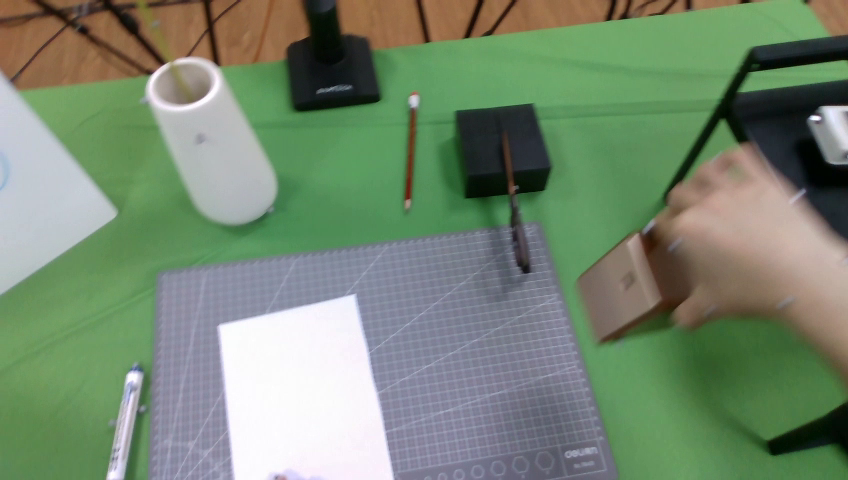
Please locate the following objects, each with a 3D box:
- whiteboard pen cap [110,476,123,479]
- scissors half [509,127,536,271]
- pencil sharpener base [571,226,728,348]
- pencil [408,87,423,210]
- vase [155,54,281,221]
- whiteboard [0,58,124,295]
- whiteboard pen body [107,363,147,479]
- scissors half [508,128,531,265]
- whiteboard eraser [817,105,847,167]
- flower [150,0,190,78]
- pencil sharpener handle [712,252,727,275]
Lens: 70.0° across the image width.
[{"bbox_3d":[-0.291,0.240,0.568,0.018,0.018,0.033,-2,57,-2],"label":"whiteboard pen cap"},{"bbox_3d":[0.112,-0.049,0.703,0.013,0.040,0.174,-11,80,20],"label":"scissors half"},{"bbox_3d":[0.180,0.040,0.494,0.077,0.107,0.061,-9,67,-16],"label":"pencil sharpener base"},{"bbox_3d":[-0.012,-0.122,0.779,0.012,0.012,0.192,3,62,1],"label":"pencil"},{"bbox_3d":[-0.221,-0.105,0.658,0.098,0.201,0.097,0,60,1],"label":"vase"},{"bbox_3d":[-0.515,-0.102,0.625,0.217,0.309,0.142,-40,49,-20],"label":"whiteboard"},{"bbox_3d":[-0.294,0.189,0.598,0.017,0.017,0.139,-1,59,-1],"label":"whiteboard pen body"},{"bbox_3d":[0.105,-0.055,0.685,0.013,0.040,0.173,-9,62,15],"label":"scissors half"},{"bbox_3d":[0.421,-0.093,0.549,0.113,0.042,0.055,0,62,-1],"label":"whiteboard eraser"},{"bbox_3d":[-0.229,-0.156,0.591,0.044,0.365,0.038,-14,44,-5],"label":"flower"},{"bbox_3d":[0.230,0.025,0.498,0.031,0.068,0.036,-9,77,-16],"label":"pencil sharpener handle"}]
